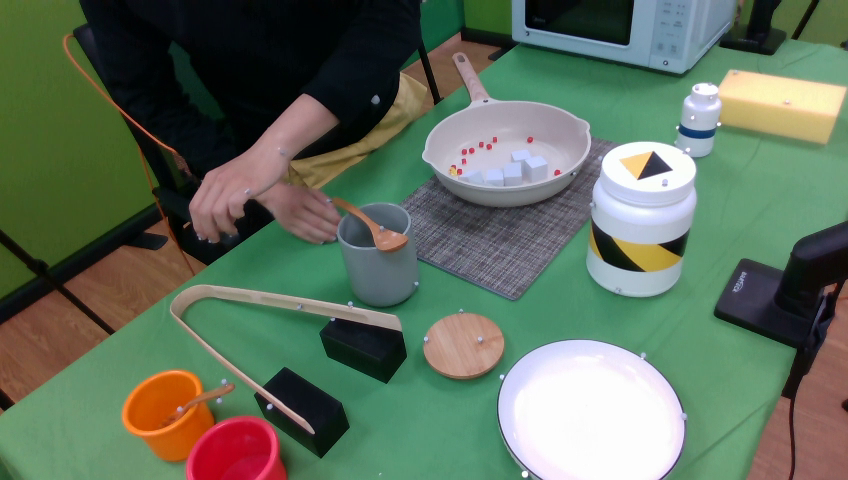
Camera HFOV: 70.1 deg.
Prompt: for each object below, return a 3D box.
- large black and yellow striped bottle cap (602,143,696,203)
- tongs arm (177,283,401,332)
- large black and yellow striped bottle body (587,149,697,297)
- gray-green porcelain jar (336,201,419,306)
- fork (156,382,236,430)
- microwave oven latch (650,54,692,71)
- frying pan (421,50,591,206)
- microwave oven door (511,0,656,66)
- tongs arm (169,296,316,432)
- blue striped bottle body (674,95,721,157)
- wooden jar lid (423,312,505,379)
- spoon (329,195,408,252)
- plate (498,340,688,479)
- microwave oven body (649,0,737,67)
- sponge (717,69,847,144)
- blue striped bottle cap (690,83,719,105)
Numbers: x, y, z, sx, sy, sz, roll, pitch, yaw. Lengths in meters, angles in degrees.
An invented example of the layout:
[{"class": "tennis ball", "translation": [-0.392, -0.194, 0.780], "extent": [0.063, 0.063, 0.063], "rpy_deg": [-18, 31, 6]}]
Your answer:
[{"class": "large black and yellow striped bottle cap", "translation": [0.289, -0.088, 0.779], "extent": [0.115, 0.019, 0.114], "rpy_deg": [-5, 40, 4]}, {"class": "tongs arm", "translation": [-0.199, 0.096, 0.823], "extent": [0.382, 0.027, 0.051], "rpy_deg": [7, 44, 34]}, {"class": "large black and yellow striped bottle body", "translation": [0.298, -0.026, 0.835], "extent": [0.131, 0.185, 0.130], "rpy_deg": [-4, 41, 4]}, {"class": "gray-green porcelain jar", "translation": [-0.064, 0.024, 0.872], "extent": [0.106, 0.127, 0.105], "rpy_deg": [-4, 41, 4]}, {"class": "fork", "translation": [-0.262, 0.189, 0.690], "extent": [0.018, 0.206, 0.028], "rpy_deg": [49, 43, -7]}, {"class": "microwave oven latch", "translation": [0.531, -0.386, 1.301], "extent": [0.078, 0.029, 0.030], "rpy_deg": [25, 51, 32]}, {"class": "frying pan", "translation": [0.127, -0.233, 1.155], "extent": [0.307, 0.103, 0.484], "rpy_deg": [-11, 49, -5]}, {"class": "microwave oven door", "translation": [0.350, -0.539, 1.348], "extent": [0.353, 0.245, 0.039], "rpy_deg": [24, 50, 31]}, {"class": "tongs arm", "translation": [-0.248, 0.148, 0.775], "extent": [0.384, 0.028, 0.028], "rpy_deg": [20, 56, 44]}, {"class": "blue striped bottle body", "translation": [0.486, -0.213, 1.072], "extent": [0.063, 0.121, 0.063], "rpy_deg": [-4, 41, 4]}, {"class": "wooden jar lid", "translation": [0.053, 0.142, 0.800], "extent": [0.108, 0.021, 0.108], "rpy_deg": [-5, 39, 4]}, {"class": "spoon", "translation": [-0.082, -0.029, 0.828], "extent": [0.042, 0.022, 0.192], "rpy_deg": [-31, 42, -21]}, {"class": "plate", "translation": [0.189, 0.206, 0.692], "extent": [0.207, 0.039, 0.206], "rpy_deg": [-4, 40, 4]}, {"class": "microwave oven body", "translation": [0.475, -0.602, 1.411], "extent": [0.438, 0.261, 0.327], "rpy_deg": [23, 50, 32]}, {"class": "sponge", "translation": [0.663, -0.256, 1.142], "extent": [0.205, 0.061, 0.118], "rpy_deg": [19, 47, 28]}, {"class": "blue striped bottle cap", "translation": [0.481, -0.251, 1.038], "extent": [0.044, 0.021, 0.044], "rpy_deg": [-5, 39, 5]}]
